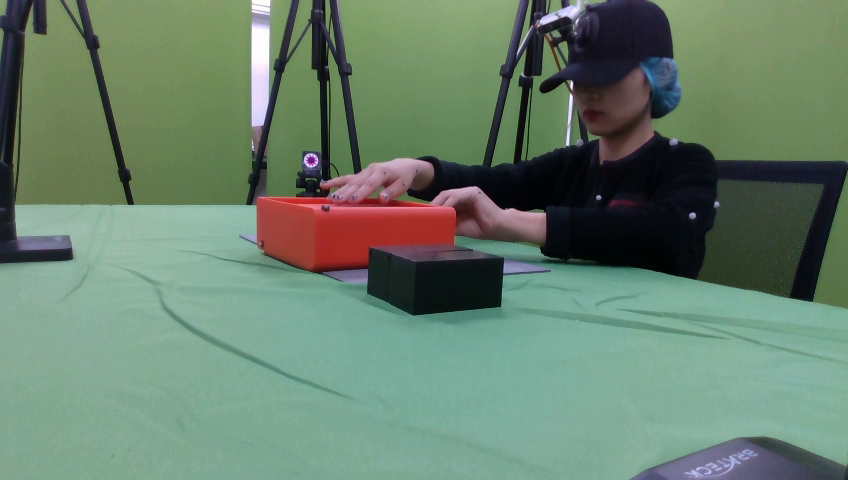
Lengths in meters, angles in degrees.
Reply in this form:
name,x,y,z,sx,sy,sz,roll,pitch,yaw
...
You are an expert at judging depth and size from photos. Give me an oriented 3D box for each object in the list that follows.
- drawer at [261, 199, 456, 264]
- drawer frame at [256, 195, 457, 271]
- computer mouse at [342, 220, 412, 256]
name,x,y,z,sx,sy,sz,roll,pitch,yaw
drawer,-0.094,-0.017,0.844,0.213,0.073,0.193,-3,10,-34
drawer frame,-0.097,-0.018,0.843,0.215,0.082,0.200,-4,10,-35
computer mouse,-0.067,-0.004,0.853,0.063,0.041,0.116,1,13,-33
